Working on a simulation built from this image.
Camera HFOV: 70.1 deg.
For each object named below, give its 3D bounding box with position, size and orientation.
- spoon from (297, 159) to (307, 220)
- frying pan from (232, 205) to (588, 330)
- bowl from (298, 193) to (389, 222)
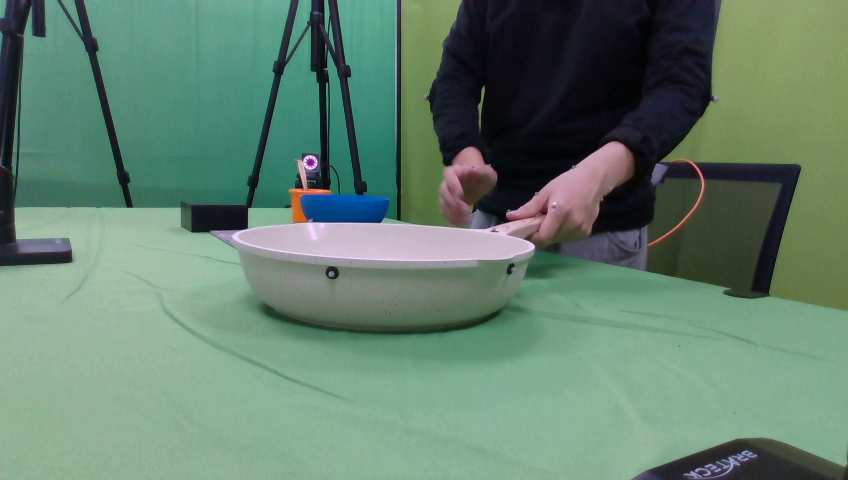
[{"bbox_3d":[-0.264,-0.114,1.338,0.042,0.193,0.021,0,-37,-21],"label":"spoon"},{"bbox_3d":[0.039,0.005,0.670,0.490,0.102,0.305,-15,17,-39],"label":"frying pan"},{"bbox_3d":[-0.136,-0.037,1.018,0.151,0.077,0.151,2,7,0],"label":"bowl"}]
